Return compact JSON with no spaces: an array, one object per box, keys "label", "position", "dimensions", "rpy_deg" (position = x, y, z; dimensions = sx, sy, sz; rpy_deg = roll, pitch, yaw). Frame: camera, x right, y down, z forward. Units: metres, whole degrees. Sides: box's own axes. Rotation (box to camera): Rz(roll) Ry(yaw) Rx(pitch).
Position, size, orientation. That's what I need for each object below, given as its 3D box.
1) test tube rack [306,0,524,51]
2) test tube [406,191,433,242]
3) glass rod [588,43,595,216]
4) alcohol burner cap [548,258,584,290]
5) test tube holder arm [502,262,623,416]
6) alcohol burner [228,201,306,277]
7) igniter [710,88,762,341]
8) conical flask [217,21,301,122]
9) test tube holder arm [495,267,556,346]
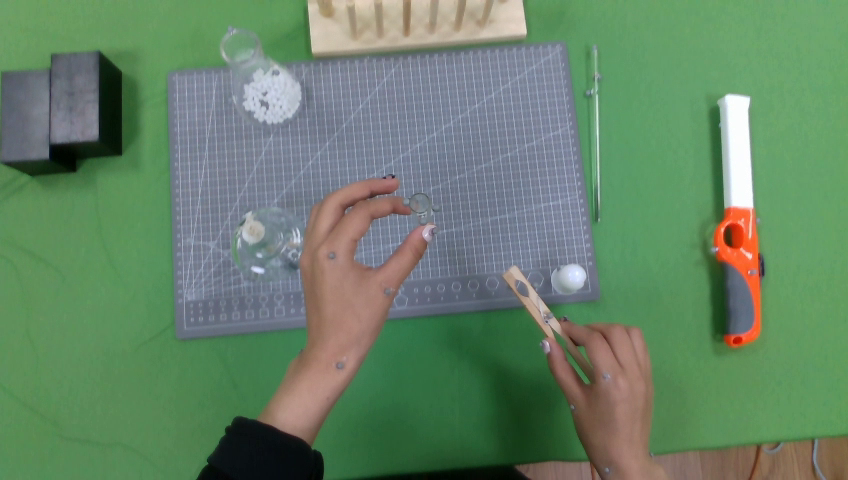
[{"label":"test tube rack","position":[-0.010,-0.265,0.653],"dimensions":[0.242,0.085,0.066],"rpy_deg":[-6,82,-2]},{"label":"test tube","position":[-0.002,-0.016,0.493],"dimensions":[0.017,0.150,0.017],"rpy_deg":[0,81,2]},{"label":"glass rod","position":[0.188,-0.125,0.677],"dimensions":[0.008,0.008,0.199],"rpy_deg":[1,84,-1]},{"label":"alcohol burner cap","position":[0.151,0.034,0.633],"dimensions":[0.034,0.048,0.033],"rpy_deg":[0,81,-1]},{"label":"test tube holder arm","position":[0.130,0.093,0.567],"dimensions":[0.013,0.015,0.178],"rpy_deg":[-39,92,2]},{"label":"alcohol burner","position":[-0.158,-0.004,0.595],"dimensions":[0.078,0.119,0.077],"rpy_deg":[0,80,1]},{"label":"igniter","position":[0.336,-0.030,0.657],"dimensions":[0.057,0.025,0.275],"rpy_deg":[4,82,-11]},{"label":"conical flask","position":[-0.172,-0.174,0.614],"dimensions":[0.075,0.122,0.075],"rpy_deg":[0,81,-1]},{"label":"test tube holder arm","position":[0.097,0.062,0.565],"dimensions":[0.010,0.015,0.088],"rpy_deg":[-39,92,2]}]
